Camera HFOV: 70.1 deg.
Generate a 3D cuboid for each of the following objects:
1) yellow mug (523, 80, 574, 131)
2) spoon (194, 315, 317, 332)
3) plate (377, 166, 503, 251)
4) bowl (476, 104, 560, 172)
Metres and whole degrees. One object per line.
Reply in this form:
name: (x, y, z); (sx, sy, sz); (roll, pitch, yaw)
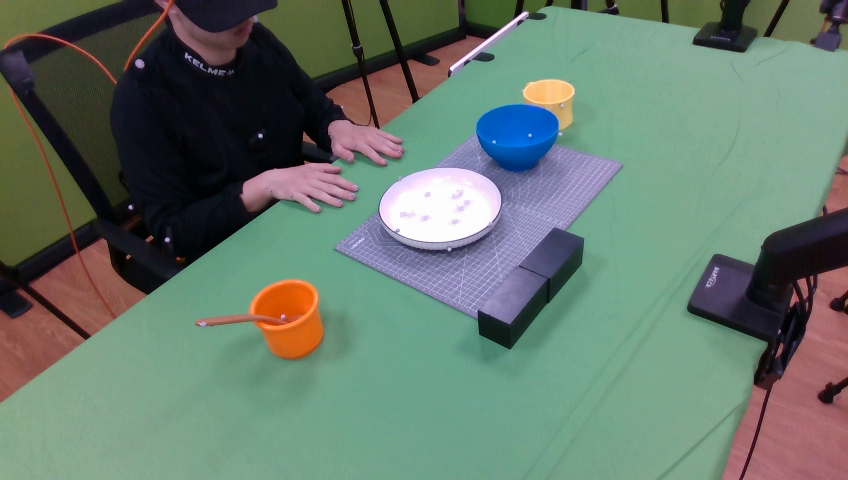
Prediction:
yellow mug: (0.242, -0.278, 1.224); (0.100, 0.064, 0.129); (-24, 42, -18)
spoon: (-0.212, 0.105, 0.780); (0.041, 0.195, 0.021); (19, 91, 34)
plate: (0.027, -0.050, 1.007); (0.209, 0.038, 0.208); (-4, 41, 4)
bowl: (0.171, -0.178, 1.105); (0.151, 0.077, 0.150); (-4, 40, 4)
